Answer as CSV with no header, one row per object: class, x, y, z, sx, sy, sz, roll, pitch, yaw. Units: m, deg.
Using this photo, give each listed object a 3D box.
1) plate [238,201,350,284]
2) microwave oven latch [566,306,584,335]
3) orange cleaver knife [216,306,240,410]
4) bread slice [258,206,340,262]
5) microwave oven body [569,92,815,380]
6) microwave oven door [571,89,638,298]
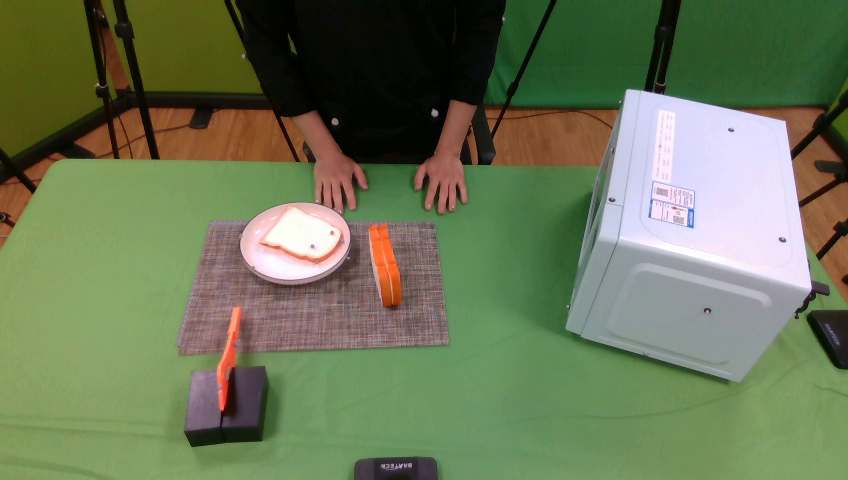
plate,-0.245,0.007,1.156,0.208,0.039,0.206,2,46,-2
microwave oven latch,0.268,0.127,1.059,0.030,0.029,0.079,17,46,13
orange cleaver knife,-0.307,0.180,0.957,0.012,0.077,0.210,-2,25,-8
bread slice,-0.232,-0.009,1.168,0.134,0.018,0.106,19,51,10
microwave oven body,0.468,-0.021,1.082,0.325,0.261,0.440,15,46,11
microwave oven door,0.343,-0.091,1.133,0.039,0.245,0.354,15,47,10
